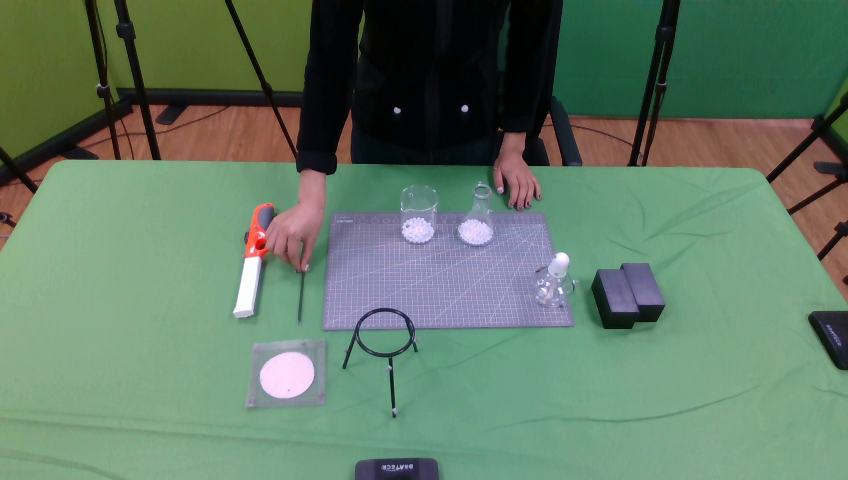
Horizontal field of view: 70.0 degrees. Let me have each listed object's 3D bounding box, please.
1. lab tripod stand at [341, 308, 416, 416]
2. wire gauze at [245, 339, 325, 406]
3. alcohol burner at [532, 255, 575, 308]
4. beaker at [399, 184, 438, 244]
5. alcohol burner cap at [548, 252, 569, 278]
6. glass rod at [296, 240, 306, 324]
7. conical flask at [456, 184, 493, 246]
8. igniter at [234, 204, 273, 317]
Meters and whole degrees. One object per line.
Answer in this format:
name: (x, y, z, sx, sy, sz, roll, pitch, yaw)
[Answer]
lab tripod stand: (-0.061, 0.177, 0.946, 0.148, 0.132, 0.147, 2, 44, -2)
wire gauze: (-0.224, 0.215, 0.984, 0.125, 0.011, 0.120, -2, 46, -5)
alcohol burner: (0.235, 0.066, 1.087, 0.078, 0.119, 0.077, 4, 45, -3)
beaker: (-0.015, -0.046, 1.186, 0.073, 0.101, 0.084, 36, 54, 27)
alcohol burner cap: (0.238, 0.042, 1.060, 0.034, 0.048, 0.033, 1, 54, -1)
glass rod: (-0.227, 0.073, 1.121, 0.008, 0.008, 0.198, -1, 47, -5)
conical flask: (0.106, -0.052, 1.185, 0.075, 0.122, 0.075, 3, 46, -2)
igniter: (-0.320, 0.029, 1.143, 0.057, 0.025, 0.274, -8, 46, 4)
